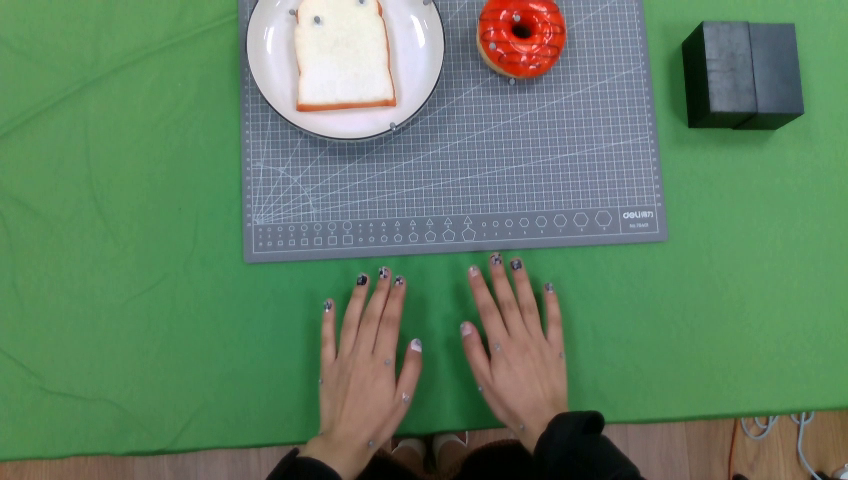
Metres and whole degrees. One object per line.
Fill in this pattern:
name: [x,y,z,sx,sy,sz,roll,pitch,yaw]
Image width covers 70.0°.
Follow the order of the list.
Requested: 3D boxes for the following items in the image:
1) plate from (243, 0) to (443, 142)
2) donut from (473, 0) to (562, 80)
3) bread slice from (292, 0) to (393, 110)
plate: [-0.084,-0.202,0.646,0.209,0.038,0.208,0,82,-3]
donut: [0.101,-0.221,0.654,0.099,0.048,0.098,1,83,-5]
bread slice: [-0.092,-0.205,0.648,0.105,0.019,0.131,-6,83,-4]
